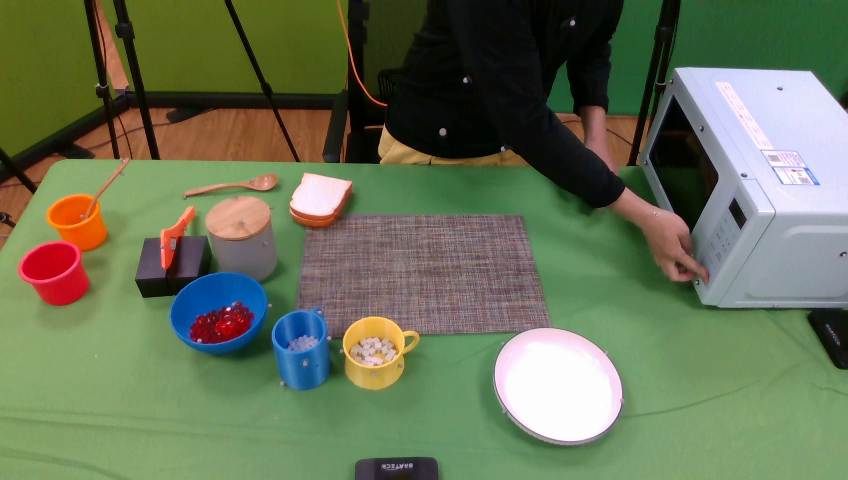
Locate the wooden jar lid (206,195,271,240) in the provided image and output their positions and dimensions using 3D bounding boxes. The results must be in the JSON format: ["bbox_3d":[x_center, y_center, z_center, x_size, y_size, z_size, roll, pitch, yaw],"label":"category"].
[{"bbox_3d":[-0.319,-0.036,1.046,0.108,0.021,0.107,1,44,0],"label":"wooden jar lid"}]

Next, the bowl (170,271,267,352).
[{"bbox_3d":[-0.333,0.132,1.006,0.151,0.077,0.150,2,46,-2],"label":"bowl"}]

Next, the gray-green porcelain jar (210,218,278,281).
[{"bbox_3d":[-0.322,0.007,1.092,0.106,0.127,0.105,2,46,-2],"label":"gray-green porcelain jar"}]

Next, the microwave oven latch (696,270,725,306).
[{"bbox_3d":[0.526,0.083,1.115,0.030,0.029,0.078,6,46,3],"label":"microwave oven latch"}]

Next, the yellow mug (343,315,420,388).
[{"bbox_3d":[-0.067,0.177,0.990,0.131,0.064,0.099,-16,50,-19],"label":"yellow mug"}]

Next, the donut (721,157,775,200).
[{"bbox_3d":[0.648,-0.124,1.214,0.099,0.048,0.098,-4,55,5],"label":"donut"}]

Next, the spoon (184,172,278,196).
[{"bbox_3d":[-0.405,-0.116,1.275,0.194,0.022,0.041,-8,65,-12],"label":"spoon"}]

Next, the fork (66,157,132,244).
[{"bbox_3d":[-0.608,-0.074,1.133,0.207,0.019,0.028,-52,50,10],"label":"fork"}]

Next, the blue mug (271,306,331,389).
[{"bbox_3d":[-0.187,0.163,0.969,0.082,0.106,0.116,15,47,10],"label":"blue mug"}]

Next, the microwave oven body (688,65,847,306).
[{"bbox_3d":[0.670,-0.111,1.176,0.326,0.261,0.439,0,46,-3],"label":"microwave oven body"}]

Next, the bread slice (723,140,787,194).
[{"bbox_3d":[0.661,-0.147,1.200,0.107,0.018,0.133,0,54,10],"label":"bread slice"}]

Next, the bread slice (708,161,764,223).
[{"bbox_3d":[0.652,-0.105,1.260,0.105,0.019,0.131,11,68,9],"label":"bread slice"}]

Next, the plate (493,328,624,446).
[{"bbox_3d":[0.213,0.236,0.974,0.208,0.039,0.206,2,46,-2],"label":"plate"}]

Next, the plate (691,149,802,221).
[{"bbox_3d":[0.652,-0.109,1.238,0.209,0.038,0.208,-1,47,1],"label":"plate"}]

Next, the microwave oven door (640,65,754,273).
[{"bbox_3d":[0.523,-0.147,1.193,0.039,0.245,0.353,0,47,-3],"label":"microwave oven door"}]

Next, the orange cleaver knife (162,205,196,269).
[{"bbox_3d":[-0.454,-0.010,1.129,0.012,0.077,0.210,-2,20,-5],"label":"orange cleaver knife"}]
